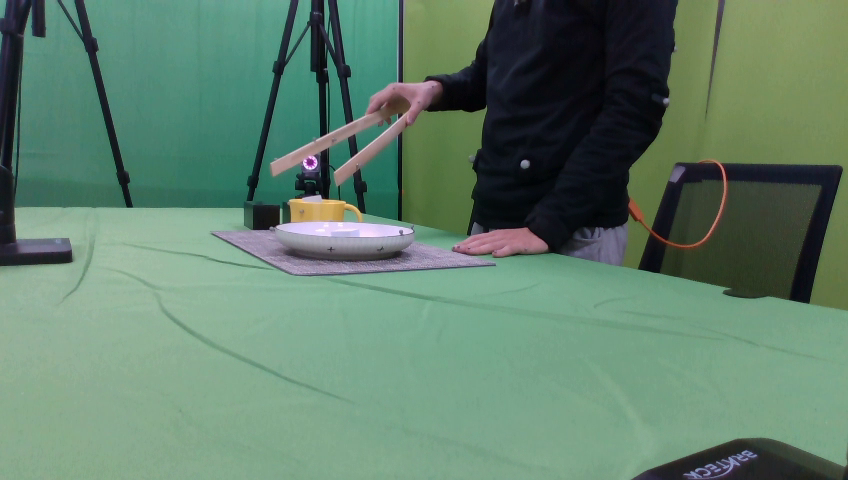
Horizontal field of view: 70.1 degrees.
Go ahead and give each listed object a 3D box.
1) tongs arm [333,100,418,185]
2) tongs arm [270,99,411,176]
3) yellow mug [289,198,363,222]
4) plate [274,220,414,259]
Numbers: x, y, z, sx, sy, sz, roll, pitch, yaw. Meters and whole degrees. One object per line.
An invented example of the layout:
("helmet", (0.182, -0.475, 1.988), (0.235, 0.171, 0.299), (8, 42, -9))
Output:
("tongs arm", (-0.079, -0.192, 1.124), (0.028, 0.028, 0.388), (1, 29, 22))
("tongs arm", (-0.143, -0.203, 1.154), (0.050, 0.026, 0.386), (10, 32, 29))
("yellow mug", (-0.174, -0.039, 1.072), (0.131, 0.064, 0.100), (3, 7, 0))
("plate", (-0.118, -0.001, 0.903), (0.208, 0.039, 0.207), (2, 7, 0))
